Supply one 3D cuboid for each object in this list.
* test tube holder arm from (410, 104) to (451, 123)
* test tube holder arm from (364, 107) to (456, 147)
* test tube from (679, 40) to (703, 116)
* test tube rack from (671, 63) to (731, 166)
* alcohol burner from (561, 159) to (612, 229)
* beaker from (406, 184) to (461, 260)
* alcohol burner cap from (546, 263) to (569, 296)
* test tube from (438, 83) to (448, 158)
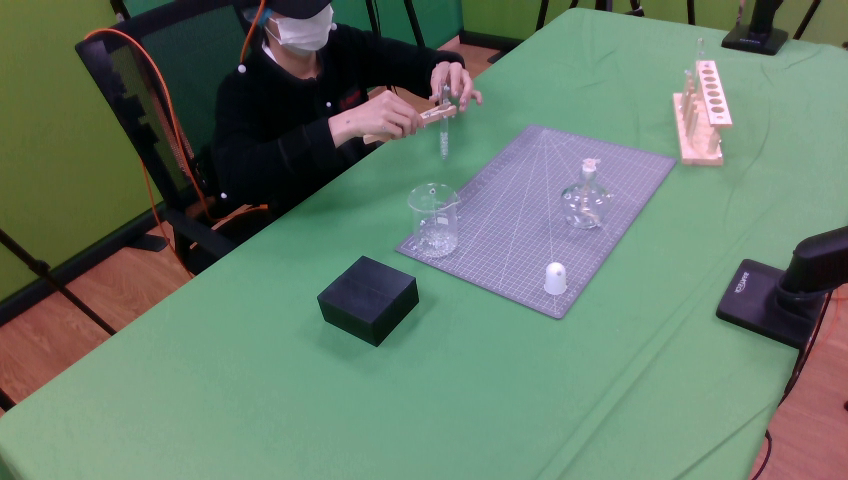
[{"bbox_3d":[0.012,-0.213,1.040,0.088,0.015,0.010,-31,46,-29],"label":"test tube holder arm"},{"bbox_3d":[-0.021,-0.192,1.017,0.179,0.015,0.013,-25,43,-24],"label":"test tube holder arm"},{"bbox_3d":[0.502,-0.303,1.138,0.017,0.151,0.017,-3,40,3],"label":"test tube"},{"bbox_3d":[0.513,-0.240,1.132,0.066,0.085,0.242,4,41,14],"label":"test tube rack"},{"bbox_3d":[0.257,-0.077,0.951,0.078,0.119,0.077,-3,40,3],"label":"alcohol burner"},{"bbox_3d":[0.019,-0.026,0.939,0.084,0.101,0.074,1,41,9],"label":"beaker"},{"bbox_3d":[0.191,0.053,0.862,0.034,0.048,0.033,-5,40,4],"label":"alcohol burner cap"},{"bbox_3d":[0.034,-0.206,1.063,0.017,0.151,0.017,-1,45,2],"label":"test tube"}]
